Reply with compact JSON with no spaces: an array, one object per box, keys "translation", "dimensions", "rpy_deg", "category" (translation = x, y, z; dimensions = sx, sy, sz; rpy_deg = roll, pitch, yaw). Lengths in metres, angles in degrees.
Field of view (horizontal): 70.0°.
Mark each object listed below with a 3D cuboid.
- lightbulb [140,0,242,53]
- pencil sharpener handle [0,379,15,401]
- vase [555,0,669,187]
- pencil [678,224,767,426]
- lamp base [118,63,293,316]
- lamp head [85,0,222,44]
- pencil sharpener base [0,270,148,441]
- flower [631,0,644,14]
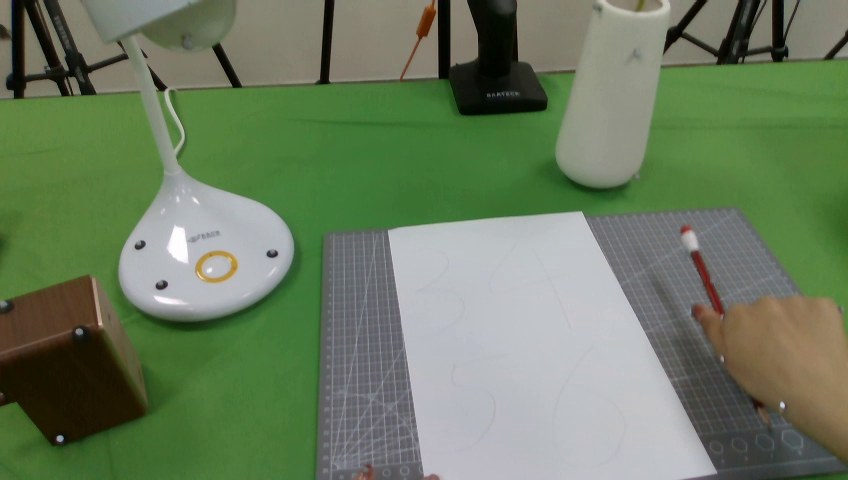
[{"translation":[-0.138,-0.156,0.326],"dimensions":[0.059,0.108,0.059],"rpy_deg":[-13,22,6],"category":"lightbulb"},{"translation":[-0.305,0.092,0.416],"dimensions":[0.031,0.068,0.035],"rpy_deg":[-19,50,-19],"category":"pencil sharpener handle"},{"translation":[0.198,-0.156,0.647],"dimensions":[0.098,0.202,0.097],"rpy_deg":[0,42,1],"category":"vase"},{"translation":[0.249,0.063,0.510],"dimensions":[0.012,0.012,0.192],"rpy_deg":[-3,53,-4],"category":"pencil"},{"translation":[-0.215,-0.052,0.539],"dimensions":[0.161,0.182,0.177],"rpy_deg":[-27,48,-27],"category":"lamp base"},{"translation":[-0.148,-0.180,0.322],"dimensions":[0.112,0.124,0.111],"rpy_deg":[-22,21,9],"category":"lamp head"},{"translation":[-0.259,0.087,0.442],"dimensions":[0.077,0.108,0.060],"rpy_deg":[-19,47,-19],"category":"pencil sharpener base"},{"translation":[0.195,-0.201,0.575],"dimensions":[0.044,0.364,0.038],"rpy_deg":[36,66,15],"category":"flower"}]
